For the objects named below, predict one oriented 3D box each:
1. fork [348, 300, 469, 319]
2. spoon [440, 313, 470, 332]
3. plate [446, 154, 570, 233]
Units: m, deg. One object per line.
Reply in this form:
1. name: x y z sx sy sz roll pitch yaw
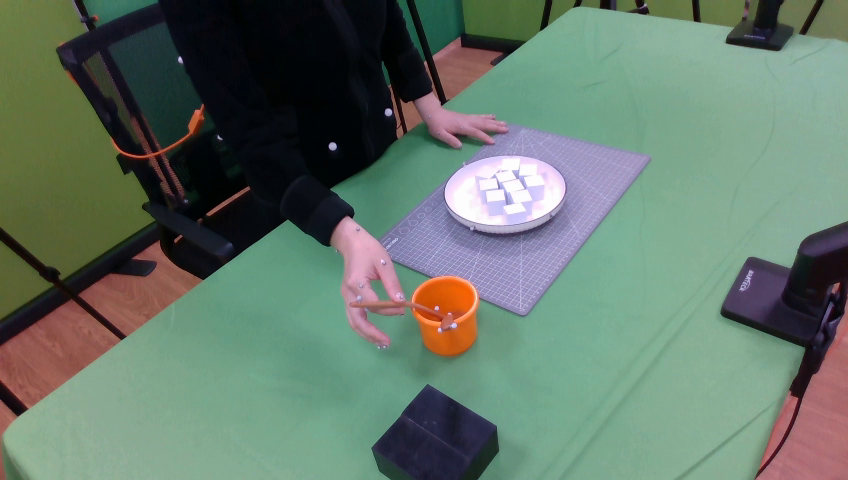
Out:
1. fork: -0.015 0.089 0.774 0.028 0.018 0.209 15 -1 45
2. spoon: 0.033 0.101 0.760 0.041 0.194 0.021 -1 83 7
3. plate: 0.142 -0.076 1.033 0.207 0.039 0.206 -5 40 5
